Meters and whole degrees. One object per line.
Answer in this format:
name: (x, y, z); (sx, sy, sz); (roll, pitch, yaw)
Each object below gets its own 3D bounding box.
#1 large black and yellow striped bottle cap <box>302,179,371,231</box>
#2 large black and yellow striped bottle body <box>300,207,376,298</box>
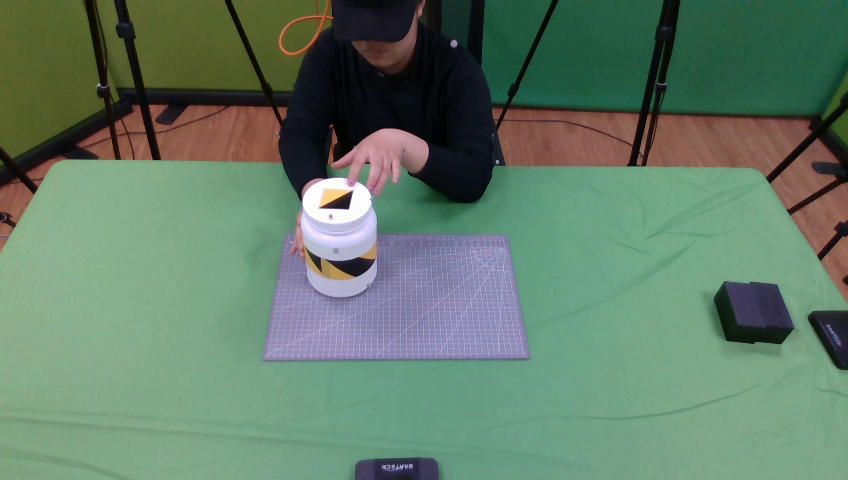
large black and yellow striped bottle cap: (-0.146, -0.060, 1.009); (0.115, 0.019, 0.114); (2, 45, -2)
large black and yellow striped bottle body: (-0.150, -0.001, 1.072); (0.131, 0.185, 0.130); (2, 46, -2)
